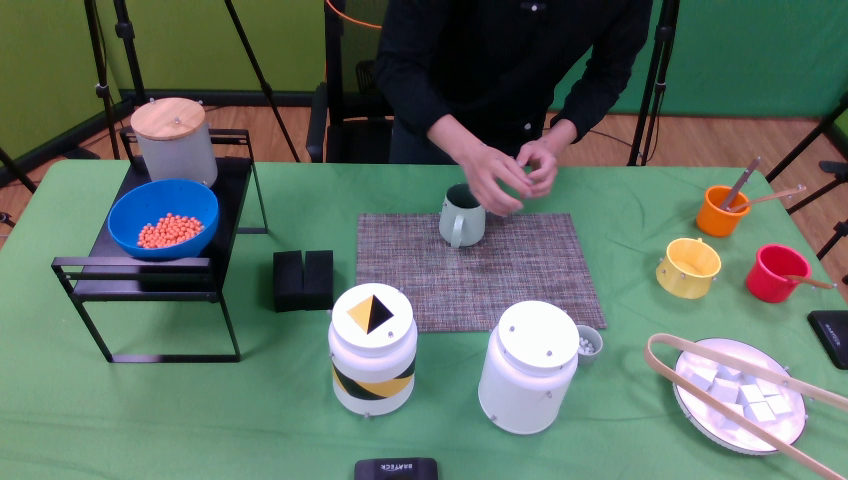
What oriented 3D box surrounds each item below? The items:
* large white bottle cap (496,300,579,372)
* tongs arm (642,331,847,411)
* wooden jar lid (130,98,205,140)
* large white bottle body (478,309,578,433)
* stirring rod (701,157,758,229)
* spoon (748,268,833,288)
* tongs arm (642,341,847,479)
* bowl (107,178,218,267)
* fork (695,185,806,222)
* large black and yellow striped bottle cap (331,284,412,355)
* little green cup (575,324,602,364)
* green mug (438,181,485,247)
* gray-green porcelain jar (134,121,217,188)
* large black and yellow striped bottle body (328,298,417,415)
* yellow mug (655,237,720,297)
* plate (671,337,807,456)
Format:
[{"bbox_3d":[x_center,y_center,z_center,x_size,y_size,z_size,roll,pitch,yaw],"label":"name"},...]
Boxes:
[{"bbox_3d":[0.160,0.133,0.852,0.115,0.018,0.114,3,46,-3],"label":"large white bottle cap"},{"bbox_3d":[0.546,0.227,0.968,0.384,0.026,0.050,22,52,13],"label":"tongs arm"},{"bbox_3d":[-0.393,-0.183,0.934,0.108,0.021,0.107,3,44,-2],"label":"wooden jar lid"},{"bbox_3d":[0.156,0.192,0.913,0.131,0.185,0.130,2,46,-2],"label":"large white bottle body"},{"bbox_3d":[0.634,-0.097,1.257,0.014,0.006,0.176,38,97,30],"label":"stirring rod"},{"bbox_3d":[0.660,0.068,1.097,0.041,0.193,0.021,-3,91,-6],"label":"spoon"},{"bbox_3d":[0.504,0.278,0.918,0.386,0.028,0.028,34,59,22],"label":"tongs arm"},{"bbox_3d":[-0.374,-0.014,0.893,0.151,0.077,0.150,2,46,-2],"label":"bowl"},{"bbox_3d":[0.658,-0.074,1.230,0.207,0.019,0.028,-23,36,37],"label":"fork"},{"bbox_3d":[-0.073,0.110,0.857,0.115,0.019,0.114,2,46,-2],"label":"large black and yellow striped bottle cap"},{"bbox_3d":[0.269,0.180,1.036,0.061,0.039,0.061,2,45,-2],"label":"little green cup"},{"bbox_3d":[0.071,-0.039,1.178,0.092,0.105,0.124,12,47,7],"label":"green mug"},{"bbox_3d":[-0.397,-0.141,0.980,0.106,0.127,0.105,2,47,-2],"label":"gray-green porcelain jar"},{"bbox_3d":[-0.078,0.167,0.920,0.131,0.185,0.130,2,46,-2],"label":"large black and yellow striped bottle body"},{"bbox_3d":[0.509,0.041,1.167,0.099,0.064,0.130,24,48,18],"label":"yellow mug"},{"bbox_3d":[0.503,0.254,0.984,0.208,0.039,0.206,2,46,-2],"label":"plate"}]
